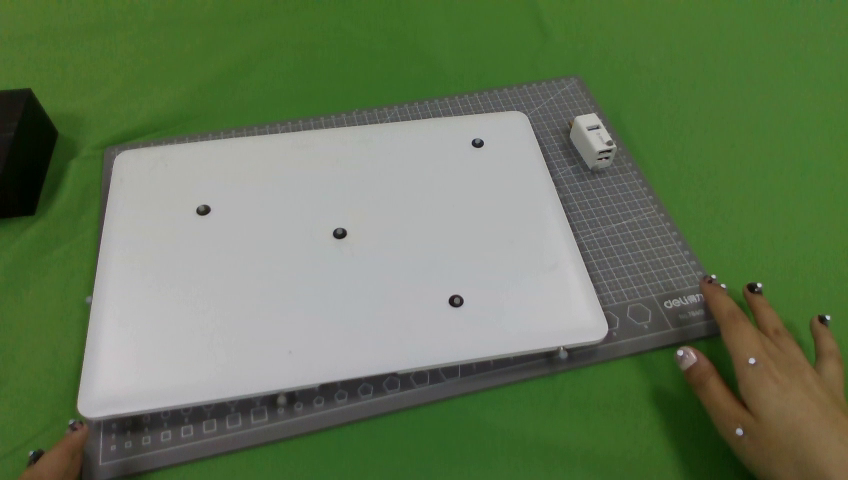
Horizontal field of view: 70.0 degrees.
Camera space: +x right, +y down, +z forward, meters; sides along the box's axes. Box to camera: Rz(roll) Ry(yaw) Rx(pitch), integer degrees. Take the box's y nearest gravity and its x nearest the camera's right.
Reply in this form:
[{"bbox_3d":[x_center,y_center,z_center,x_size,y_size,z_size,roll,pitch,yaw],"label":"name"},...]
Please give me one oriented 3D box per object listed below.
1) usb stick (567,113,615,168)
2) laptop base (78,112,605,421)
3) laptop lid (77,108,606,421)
[{"bbox_3d":[0.145,-0.093,0.538,0.021,0.027,0.058,-13,52,-9],"label":"usb stick"},{"bbox_3d":[-0.064,0.002,0.469,0.355,0.023,0.233,-7,57,-7],"label":"laptop base"},{"bbox_3d":[-0.063,-0.003,0.458,0.357,0.013,0.239,-6,56,-6],"label":"laptop lid"}]
